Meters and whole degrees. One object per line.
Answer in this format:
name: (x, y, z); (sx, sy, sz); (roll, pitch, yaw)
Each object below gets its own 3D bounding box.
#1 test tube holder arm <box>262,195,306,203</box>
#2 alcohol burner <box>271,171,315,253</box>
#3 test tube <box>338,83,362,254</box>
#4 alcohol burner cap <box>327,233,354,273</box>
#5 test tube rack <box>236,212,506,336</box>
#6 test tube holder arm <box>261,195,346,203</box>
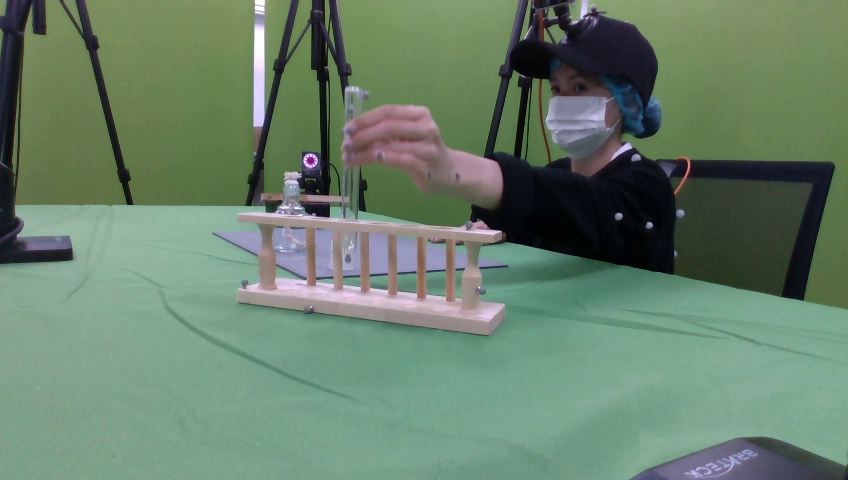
test tube holder arm: (-0.278, -0.082, 1.204); (0.088, 0.015, 0.010); (-1, 10, -30)
alcohol burner: (-0.196, -0.041, 0.884); (0.078, 0.119, 0.078); (3, 5, 0)
test tube: (-0.066, -0.062, 0.536); (0.017, 0.150, 0.017); (3, 5, 0)
alcohol burner cap: (-0.104, 0.016, 0.752); (0.034, 0.048, 0.034); (3, 6, 0)
test tube rack: (-0.049, 0.024, 0.552); (0.242, 0.085, 0.067); (5, 8, 18)
test tube holder arm: (-0.242, -0.083, 1.233); (0.179, 0.015, 0.013); (-1, 10, -33)
